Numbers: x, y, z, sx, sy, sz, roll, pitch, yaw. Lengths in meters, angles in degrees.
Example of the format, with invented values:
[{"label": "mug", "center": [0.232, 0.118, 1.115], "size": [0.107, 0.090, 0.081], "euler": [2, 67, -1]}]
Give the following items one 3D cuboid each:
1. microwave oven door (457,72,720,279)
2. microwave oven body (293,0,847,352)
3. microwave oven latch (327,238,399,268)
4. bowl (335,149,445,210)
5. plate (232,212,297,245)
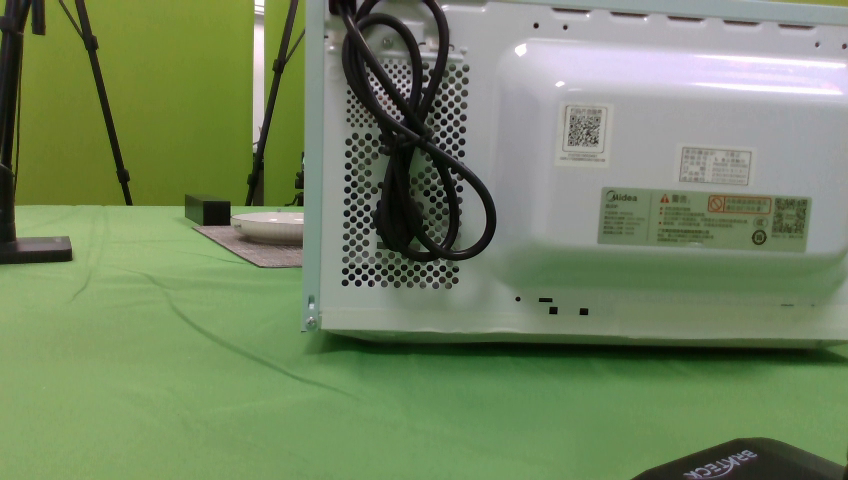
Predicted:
[{"label": "microwave oven door", "center": [0.199, -0.092, 0.819], "size": [0.354, 0.243, 0.039], "euler": [8, 9, 41]}, {"label": "microwave oven body", "center": [0.122, -0.055, 0.550], "size": [0.442, 0.260, 0.325], "euler": [3, 7, -5]}, {"label": "microwave oven latch", "center": [-0.069, 0.015, 0.694], "size": [0.079, 0.029, 0.030], "euler": [3, 7, -2]}, {"label": "bowl", "center": [-0.048, -0.082, 0.838], "size": [0.151, 0.077, 0.151], "euler": [3, 6, 0]}, {"label": "plate", "center": [-0.214, -0.019, 1.018], "size": [0.208, 0.039, 0.207], "euler": [3, 7, 0]}]
